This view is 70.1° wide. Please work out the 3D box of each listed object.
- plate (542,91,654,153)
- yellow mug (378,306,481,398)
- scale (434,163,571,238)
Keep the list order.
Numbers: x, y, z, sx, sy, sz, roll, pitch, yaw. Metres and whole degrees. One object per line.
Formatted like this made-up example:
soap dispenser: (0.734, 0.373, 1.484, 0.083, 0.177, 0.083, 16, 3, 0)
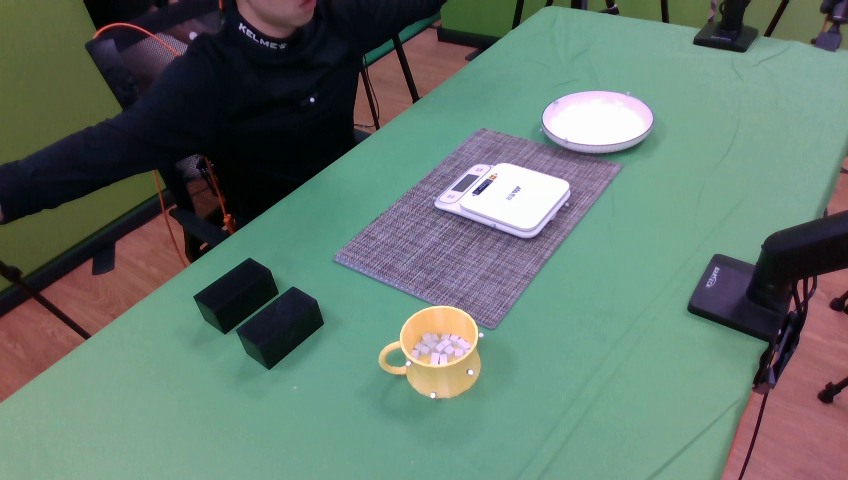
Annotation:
plate: (0.334, -0.224, 1.171, 0.209, 0.038, 0.208, -4, 40, 4)
yellow mug: (0.006, 0.144, 0.766, 0.131, 0.064, 0.099, -10, 40, -2)
scale: (0.132, -0.075, 1.025, 0.199, 0.032, 0.149, 22, 48, 30)
